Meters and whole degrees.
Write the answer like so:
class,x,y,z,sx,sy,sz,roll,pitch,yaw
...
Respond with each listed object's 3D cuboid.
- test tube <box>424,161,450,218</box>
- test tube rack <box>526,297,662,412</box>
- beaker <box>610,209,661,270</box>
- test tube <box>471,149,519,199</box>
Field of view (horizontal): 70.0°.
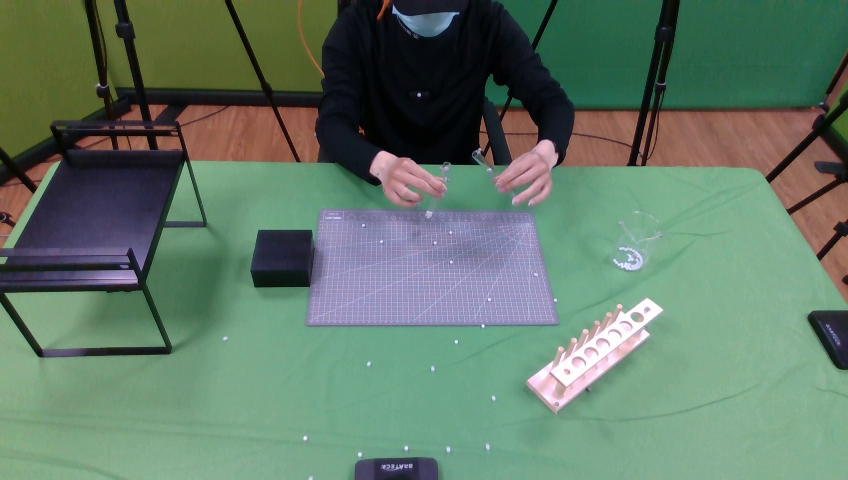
class,x,y,z,sx,sy,sz,roll,pitch,yaw
test tube,0.024,-0.094,1.157,0.017,0.151,0.017,9,49,-10
test tube rack,0.284,0.176,1.007,0.242,0.085,0.066,-29,54,-27
beaker,0.404,0.005,1.170,0.074,0.101,0.083,19,49,15
test tube,0.136,-0.121,1.130,0.017,0.151,0.017,-26,44,28
